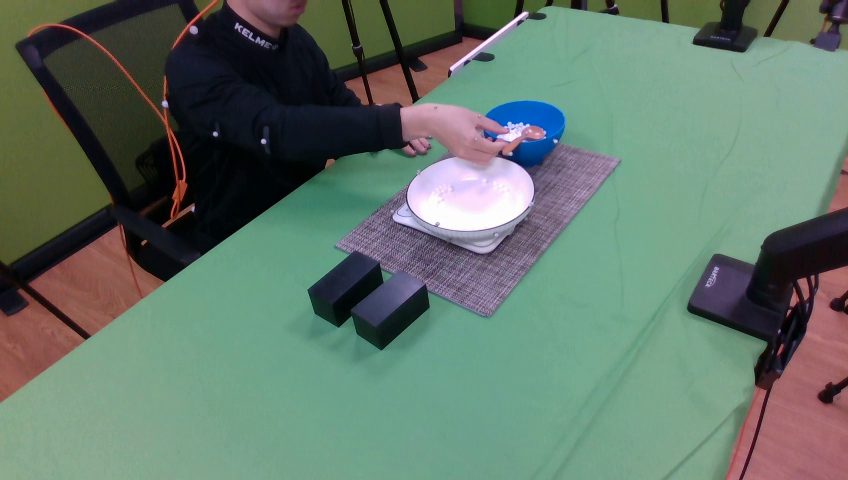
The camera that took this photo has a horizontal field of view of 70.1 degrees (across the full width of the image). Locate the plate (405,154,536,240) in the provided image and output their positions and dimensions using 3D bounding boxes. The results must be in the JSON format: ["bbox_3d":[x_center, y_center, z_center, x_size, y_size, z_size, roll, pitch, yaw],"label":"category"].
[{"bbox_3d":[0.075,-0.067,0.973,0.209,0.038,0.208,-4,41,4],"label":"plate"}]

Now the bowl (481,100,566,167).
[{"bbox_3d":[0.183,-0.186,1.111,0.151,0.077,0.150,-4,40,4],"label":"bowl"}]

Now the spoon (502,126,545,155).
[{"bbox_3d":[0.169,-0.173,1.046,0.041,0.021,0.194,25,26,17],"label":"spoon"}]

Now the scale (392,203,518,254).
[{"bbox_3d":[0.061,-0.051,1.006,0.199,0.032,0.149,22,48,30],"label":"scale"}]
